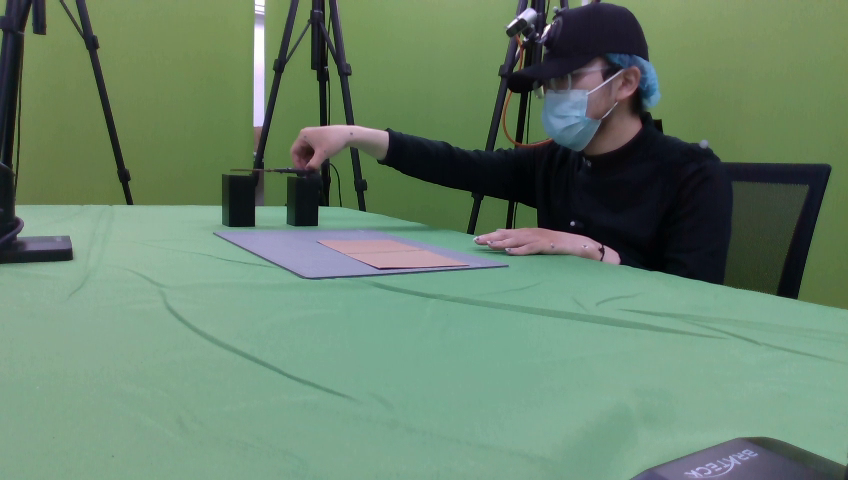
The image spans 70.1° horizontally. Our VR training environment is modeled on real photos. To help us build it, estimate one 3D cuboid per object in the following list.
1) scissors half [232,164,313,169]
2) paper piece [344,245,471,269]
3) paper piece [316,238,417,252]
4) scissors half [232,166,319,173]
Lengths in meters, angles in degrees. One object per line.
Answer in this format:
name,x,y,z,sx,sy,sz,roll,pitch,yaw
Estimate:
scissors half,-0.306,-0.147,1.229,0.176,0.013,0.040,-7,21,-42
paper piece,-0.027,0.024,0.847,0.137,0.008,0.137,-5,11,-26
paper piece,-0.088,0.006,0.964,0.136,0.004,0.135,-3,8,-27
scissors half,-0.295,-0.142,1.214,0.176,0.013,0.040,-2,12,-26
